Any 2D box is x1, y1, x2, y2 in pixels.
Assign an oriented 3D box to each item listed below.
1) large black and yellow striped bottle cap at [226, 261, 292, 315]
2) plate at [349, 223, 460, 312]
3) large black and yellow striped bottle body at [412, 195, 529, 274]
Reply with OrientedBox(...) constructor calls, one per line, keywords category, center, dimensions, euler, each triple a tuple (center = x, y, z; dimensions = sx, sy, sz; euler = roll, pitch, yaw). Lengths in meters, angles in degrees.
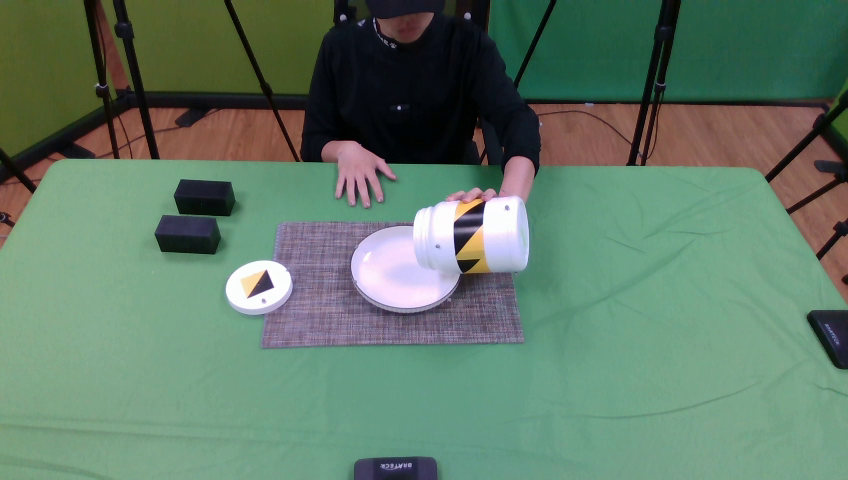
OrientedBox(category="large black and yellow striped bottle cap", center=(-0.298, 0.085, 1.092), dimensions=(0.115, 0.019, 0.114), euler=(0, 45, 1))
OrientedBox(category="plate", center=(-0.035, 0.054, 1.126), dimensions=(0.208, 0.039, 0.206), euler=(2, 46, -2))
OrientedBox(category="large black and yellow striped bottle body", center=(0.082, -0.007, 1.053), dimensions=(0.184, 0.131, 0.130), euler=(-3, 43, 18))
